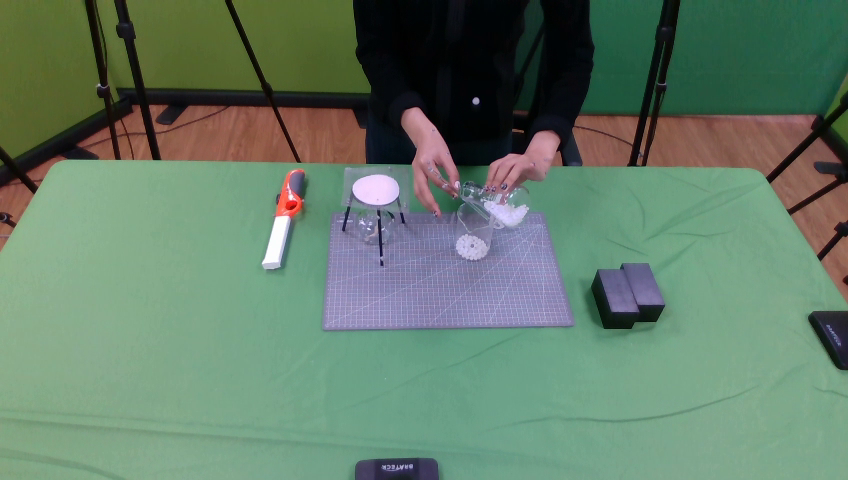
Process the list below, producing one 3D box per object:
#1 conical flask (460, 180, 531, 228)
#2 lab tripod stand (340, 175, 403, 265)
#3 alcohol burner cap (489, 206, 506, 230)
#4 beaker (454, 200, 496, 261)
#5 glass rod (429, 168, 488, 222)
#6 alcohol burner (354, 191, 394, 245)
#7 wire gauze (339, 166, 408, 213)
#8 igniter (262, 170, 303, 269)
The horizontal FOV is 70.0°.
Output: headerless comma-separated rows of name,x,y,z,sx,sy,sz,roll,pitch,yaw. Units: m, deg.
conical flask,0.117,-0.071,1.048,0.121,0.076,0.075,23,47,40
lab tripod stand,-0.094,-0.050,1.160,0.148,0.132,0.147,2,44,-2
alcohol burner cap,0.152,-0.047,1.241,0.034,0.048,0.033,1,45,-1
beaker,0.094,-0.013,1.162,0.074,0.101,0.083,17,48,12
glass rod,0.065,-0.078,1.090,0.008,0.201,0.008,-18,55,29
alcohol burner,-0.096,-0.048,1.171,0.078,0.119,0.077,4,45,-4
wire gauze,-0.091,-0.096,1.110,0.125,0.011,0.120,2,45,-3
igniter,-0.283,-0.050,1.222,0.057,0.025,0.275,-5,45,6
